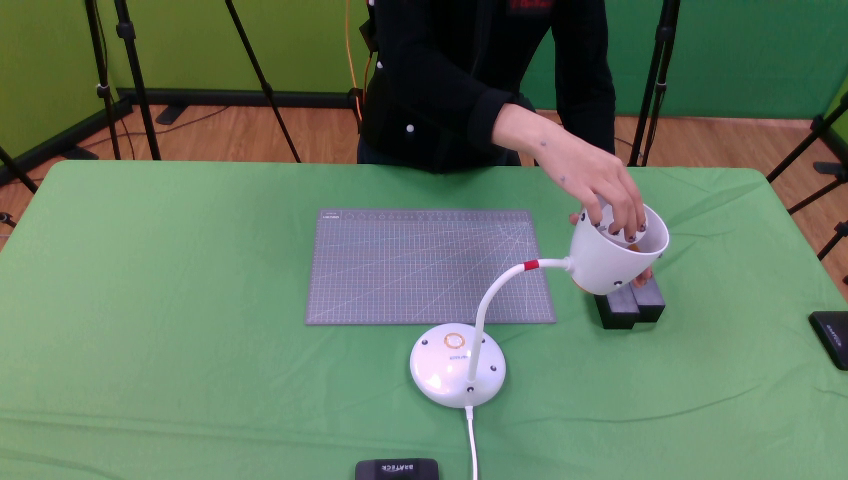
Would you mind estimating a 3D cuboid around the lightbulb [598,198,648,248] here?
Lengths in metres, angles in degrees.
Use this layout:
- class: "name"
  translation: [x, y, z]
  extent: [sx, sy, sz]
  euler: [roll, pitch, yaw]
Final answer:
- class: "lightbulb"
  translation: [0.247, -0.005, 0.784]
  extent: [0.059, 0.108, 0.059]
  euler: [9, 40, -8]

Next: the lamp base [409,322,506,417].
- class: "lamp base"
  translation: [0.064, 0.160, 0.940]
  extent: [0.161, 0.181, 0.178]
  euler: [-10, 51, -13]

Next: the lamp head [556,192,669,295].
- class: "lamp head"
  translation: [0.238, 0.015, 0.796]
  extent: [0.113, 0.123, 0.111]
  euler: [14, 43, -13]
